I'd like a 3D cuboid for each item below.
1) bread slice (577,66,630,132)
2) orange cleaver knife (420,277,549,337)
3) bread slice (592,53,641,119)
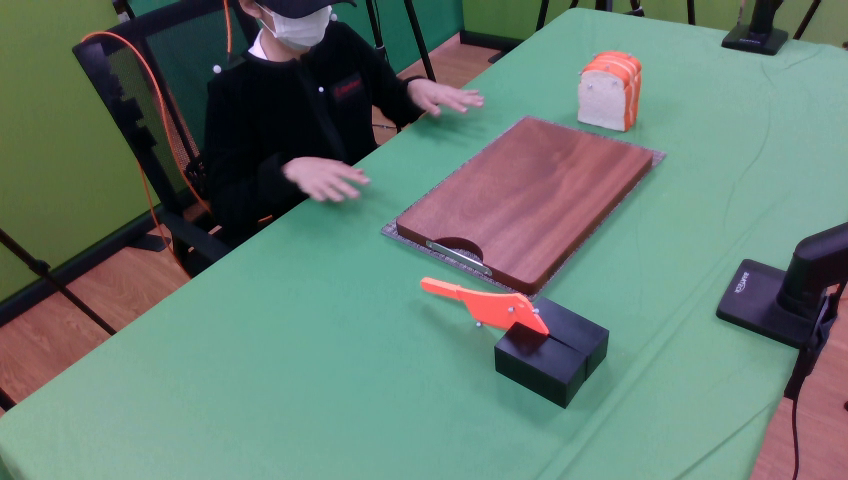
[{"bbox_3d":[0.341,-0.271,1.159,0.104,0.132,0.019,22,56,31],"label":"bread slice"},{"bbox_3d":[0.076,0.089,0.813,0.209,0.077,0.012,9,44,47],"label":"orange cleaver knife"},{"bbox_3d":[0.373,-0.302,1.186,0.106,0.135,0.018,23,55,24],"label":"bread slice"}]
